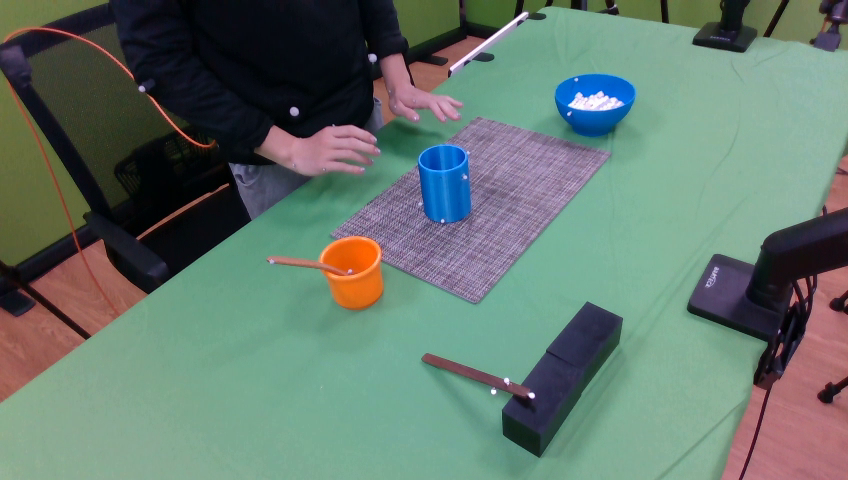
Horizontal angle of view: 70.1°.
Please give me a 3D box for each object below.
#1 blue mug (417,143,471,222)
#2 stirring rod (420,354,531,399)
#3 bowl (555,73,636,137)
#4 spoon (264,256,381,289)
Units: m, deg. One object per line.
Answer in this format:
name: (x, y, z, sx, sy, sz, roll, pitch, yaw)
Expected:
blue mug: (0.031, -0.104, 1.014, 0.082, 0.106, 0.115, -14, 41, -7)
stirring rod: (0.058, 0.164, 0.738, 0.174, 0.006, 0.014, 8, 42, 46)
bowl: (0.328, -0.253, 1.172, 0.151, 0.077, 0.150, -4, 41, 4)
spoon: (-0.136, 0.041, 0.842, 0.021, 0.195, 0.041, -56, 46, 13)
